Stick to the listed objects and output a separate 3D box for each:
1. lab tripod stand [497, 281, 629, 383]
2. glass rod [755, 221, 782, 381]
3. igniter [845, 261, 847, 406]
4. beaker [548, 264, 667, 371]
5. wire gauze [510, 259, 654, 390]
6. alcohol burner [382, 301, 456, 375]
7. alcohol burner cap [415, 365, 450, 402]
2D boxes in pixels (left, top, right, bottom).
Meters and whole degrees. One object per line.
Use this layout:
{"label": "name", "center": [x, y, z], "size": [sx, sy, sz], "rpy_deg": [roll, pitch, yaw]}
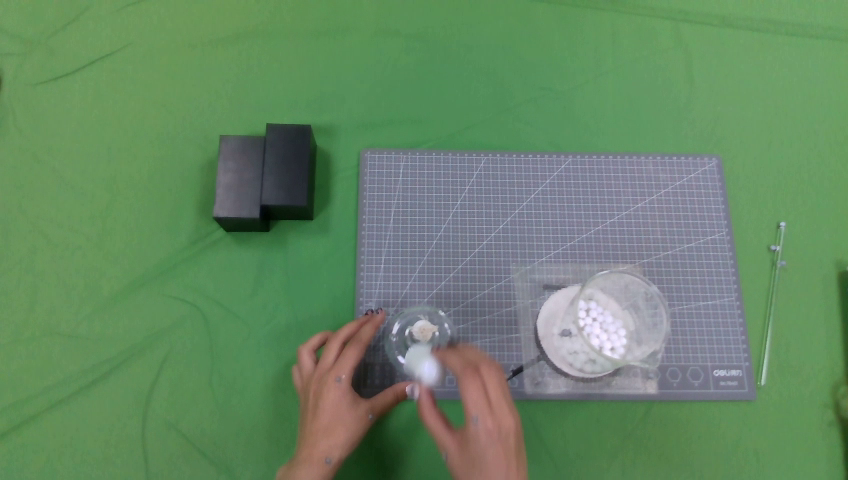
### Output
{"label": "lab tripod stand", "center": [0.142, 0.099, 0.621], "size": [0.148, 0.132, 0.147], "rpy_deg": [0, 72, 0]}
{"label": "glass rod", "center": [0.404, 0.068, 0.710], "size": [0.008, 0.008, 0.199], "rpy_deg": [17, 74, 2]}
{"label": "igniter", "center": [0.499, 0.155, 0.679], "size": [0.057, 0.025, 0.275], "rpy_deg": [11, 73, -10]}
{"label": "beaker", "center": [0.150, 0.072, 0.510], "size": [0.074, 0.101, 0.083], "rpy_deg": [-31, 76, -11]}
{"label": "wire gauze", "center": [0.145, 0.076, 0.559], "size": [0.125, 0.011, 0.120], "rpy_deg": [-1, 72, 0]}
{"label": "alcohol burner", "center": [-0.004, 0.098, 0.625], "size": [0.078, 0.119, 0.077], "rpy_deg": [1, 71, -3]}
{"label": "alcohol burner cap", "center": [0.007, 0.126, 0.536], "size": [0.034, 0.048, 0.033], "rpy_deg": [0, 74, 2]}
